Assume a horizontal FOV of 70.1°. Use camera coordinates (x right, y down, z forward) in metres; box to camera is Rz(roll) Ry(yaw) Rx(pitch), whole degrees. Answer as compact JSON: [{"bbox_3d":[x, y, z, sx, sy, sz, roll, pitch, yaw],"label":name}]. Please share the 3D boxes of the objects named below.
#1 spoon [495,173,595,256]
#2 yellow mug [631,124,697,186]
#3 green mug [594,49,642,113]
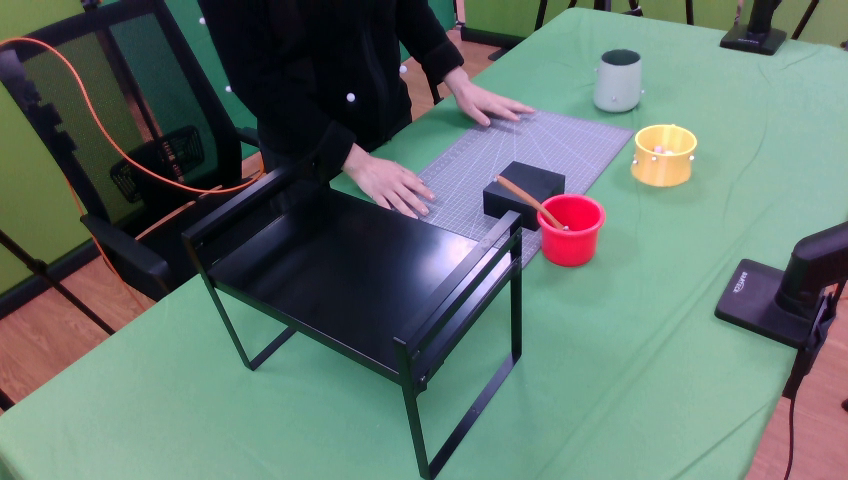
[{"bbox_3d":[0.181,-0.040,0.902,0.194,0.021,0.041,40,50,-14],"label":"spoon"},{"bbox_3d":[0.424,-0.158,1.062,0.099,0.064,0.131,15,45,24],"label":"yellow mug"},{"bbox_3d":[0.397,-0.333,1.240,0.092,0.105,0.125,-3,41,7],"label":"green mug"}]
